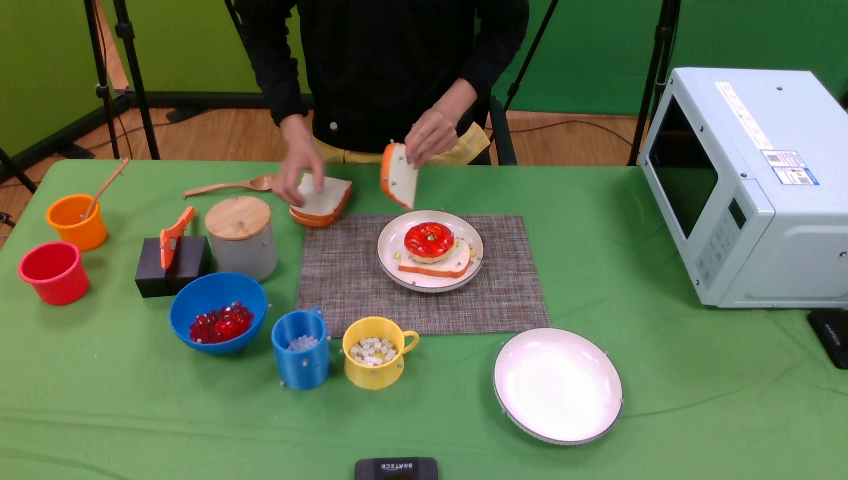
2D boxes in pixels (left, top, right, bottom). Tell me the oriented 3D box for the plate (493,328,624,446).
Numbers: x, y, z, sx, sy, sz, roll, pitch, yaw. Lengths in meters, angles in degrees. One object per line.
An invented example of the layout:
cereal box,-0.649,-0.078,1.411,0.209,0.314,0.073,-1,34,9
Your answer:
plate,0.213,0.236,0.974,0.208,0.039,0.206,2,46,-2

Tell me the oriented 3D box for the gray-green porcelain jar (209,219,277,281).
gray-green porcelain jar,-0.323,0.007,1.092,0.106,0.127,0.105,2,46,-2

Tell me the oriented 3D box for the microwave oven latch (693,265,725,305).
microwave oven latch,0.523,0.081,1.115,0.030,0.029,0.078,2,46,-1

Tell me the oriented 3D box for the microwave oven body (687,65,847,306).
microwave oven body,0.669,-0.111,1.176,0.326,0.261,0.439,0,46,-3

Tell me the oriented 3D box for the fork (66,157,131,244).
fork,-0.608,-0.074,1.132,0.207,0.019,0.028,-52,48,10

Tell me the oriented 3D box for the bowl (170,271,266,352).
bowl,-0.333,0.132,1.006,0.151,0.077,0.150,2,46,-2

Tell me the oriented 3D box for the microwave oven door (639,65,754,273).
microwave oven door,0.522,-0.147,1.192,0.039,0.245,0.353,0,47,-3

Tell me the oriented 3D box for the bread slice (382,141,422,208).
bread slice,-0.038,-0.117,1.077,0.018,0.135,0.107,3,87,22

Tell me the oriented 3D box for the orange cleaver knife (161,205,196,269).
orange cleaver knife,-0.454,-0.010,1.129,0.012,0.077,0.210,-1,20,-5

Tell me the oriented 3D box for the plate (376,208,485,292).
plate,0.012,0.021,1.158,0.209,0.038,0.208,2,47,-2

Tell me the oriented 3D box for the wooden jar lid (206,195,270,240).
wooden jar lid,-0.319,-0.036,1.046,0.108,0.021,0.107,1,44,0

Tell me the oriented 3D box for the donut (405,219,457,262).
donut,0.012,0.000,1.140,0.099,0.048,0.098,0,45,0

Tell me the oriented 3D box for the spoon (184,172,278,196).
spoon,-0.405,-0.116,1.275,0.194,0.022,0.041,-8,66,-12

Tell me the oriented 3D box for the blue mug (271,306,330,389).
blue mug,-0.188,0.163,0.969,0.082,0.106,0.116,15,47,10

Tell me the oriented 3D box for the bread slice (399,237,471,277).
bread slice,0.025,0.025,1.160,0.131,0.019,0.104,7,47,7

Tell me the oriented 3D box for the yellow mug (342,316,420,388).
yellow mug,-0.068,0.177,0.990,0.131,0.064,0.099,-16,50,-19
